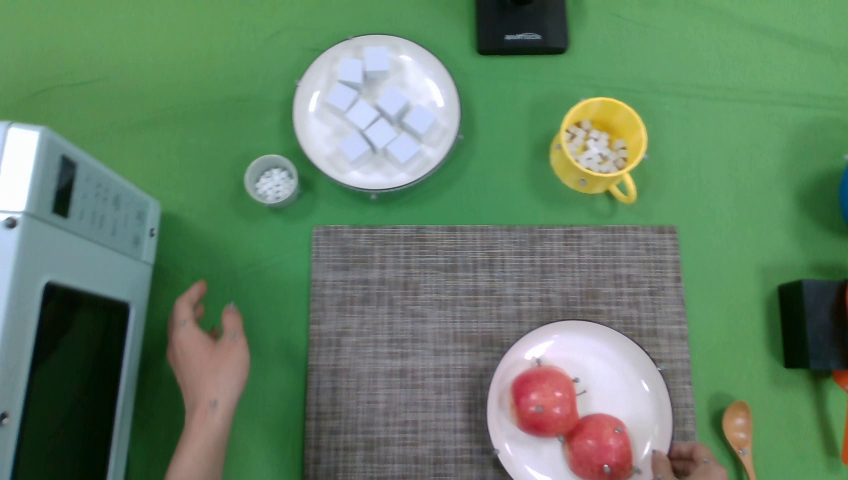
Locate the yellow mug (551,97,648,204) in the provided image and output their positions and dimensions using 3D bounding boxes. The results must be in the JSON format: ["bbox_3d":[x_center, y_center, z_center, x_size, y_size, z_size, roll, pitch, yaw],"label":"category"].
[{"bbox_3d":[0.219,-0.102,0.736,0.100,0.064,0.130,-28,81,-6],"label":"yellow mug"}]

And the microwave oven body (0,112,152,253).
[{"bbox_3d":[-0.488,0.122,0.582,0.326,0.261,0.440,4,79,0],"label":"microwave oven body"}]

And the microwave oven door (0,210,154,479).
[{"bbox_3d":[-0.345,0.171,0.567,0.039,0.245,0.354,3,78,1],"label":"microwave oven door"}]

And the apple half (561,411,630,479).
[{"bbox_3d":[0.193,0.230,0.671,0.081,0.033,0.081,0,74,1],"label":"apple half"}]

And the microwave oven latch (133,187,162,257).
[{"bbox_3d":[-0.330,-0.021,0.711,0.030,0.029,0.079,6,79,0],"label":"microwave oven latch"}]

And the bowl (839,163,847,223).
[{"bbox_3d":[0.558,-0.049,0.721,0.151,0.077,0.150,0,79,0],"label":"bowl"}]

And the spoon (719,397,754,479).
[{"bbox_3d":[0.365,0.275,0.681,0.042,0.021,0.193,-3,77,-22],"label":"spoon"}]

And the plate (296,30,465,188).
[{"bbox_3d":[-0.053,-0.161,0.761,0.208,0.039,0.206,0,78,0],"label":"plate"}]

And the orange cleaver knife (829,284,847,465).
[{"bbox_3d":[0.479,0.145,0.678,0.012,0.077,0.212,2,102,4],"label":"orange cleaver knife"}]

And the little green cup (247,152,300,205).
[{"bbox_3d":[-0.181,-0.072,0.739,0.061,0.039,0.061,0,79,-1],"label":"little green cup"}]

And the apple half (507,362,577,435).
[{"bbox_3d":[0.132,0.177,0.673,0.074,0.053,0.080,-3,79,2],"label":"apple half"}]

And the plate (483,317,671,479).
[{"bbox_3d":[0.169,0.191,0.686,0.209,0.038,0.208,0,79,0],"label":"plate"}]
